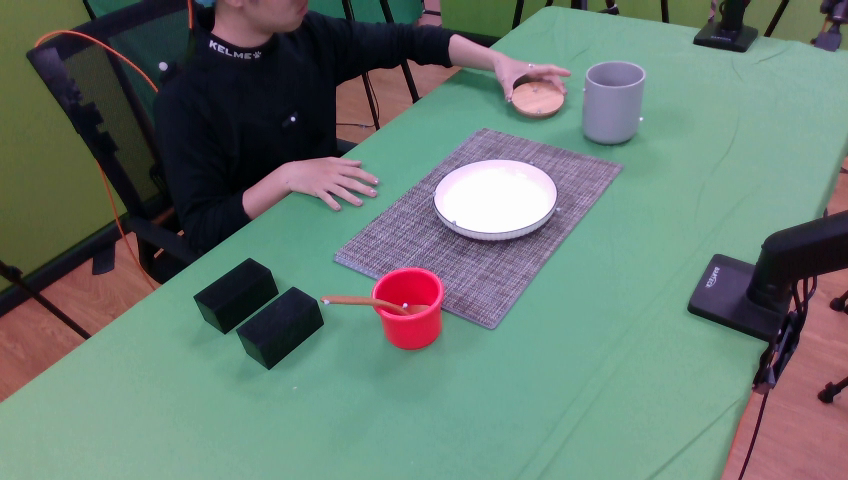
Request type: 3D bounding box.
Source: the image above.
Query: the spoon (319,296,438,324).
[{"bbox_3d":[-0.055,0.086,0.784,0.195,0.021,0.041,19,19,-44],"label":"spoon"}]

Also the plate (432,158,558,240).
[{"bbox_3d":[0.118,-0.066,1.013,0.207,0.039,0.206,-4,41,4],"label":"plate"}]

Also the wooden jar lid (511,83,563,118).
[{"bbox_3d":[0.237,-0.290,1.266,0.108,0.021,0.108,-1,49,2],"label":"wooden jar lid"}]

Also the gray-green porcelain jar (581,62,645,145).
[{"bbox_3d":[0.350,-0.251,1.131,0.106,0.127,0.105,-4,41,4],"label":"gray-green porcelain jar"}]
